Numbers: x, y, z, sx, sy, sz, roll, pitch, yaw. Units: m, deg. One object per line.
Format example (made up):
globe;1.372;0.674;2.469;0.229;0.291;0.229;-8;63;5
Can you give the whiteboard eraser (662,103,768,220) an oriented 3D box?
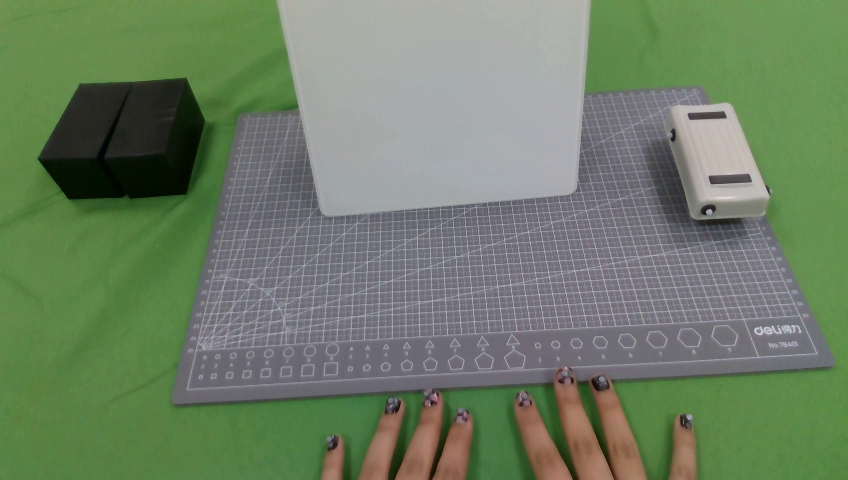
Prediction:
whiteboard eraser;0.235;-0.063;0.496;0.055;0.042;0.111;0;52;3

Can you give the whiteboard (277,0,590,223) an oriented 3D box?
whiteboard;0.008;-0.189;0.479;0.217;0.308;0.142;-5;33;1
